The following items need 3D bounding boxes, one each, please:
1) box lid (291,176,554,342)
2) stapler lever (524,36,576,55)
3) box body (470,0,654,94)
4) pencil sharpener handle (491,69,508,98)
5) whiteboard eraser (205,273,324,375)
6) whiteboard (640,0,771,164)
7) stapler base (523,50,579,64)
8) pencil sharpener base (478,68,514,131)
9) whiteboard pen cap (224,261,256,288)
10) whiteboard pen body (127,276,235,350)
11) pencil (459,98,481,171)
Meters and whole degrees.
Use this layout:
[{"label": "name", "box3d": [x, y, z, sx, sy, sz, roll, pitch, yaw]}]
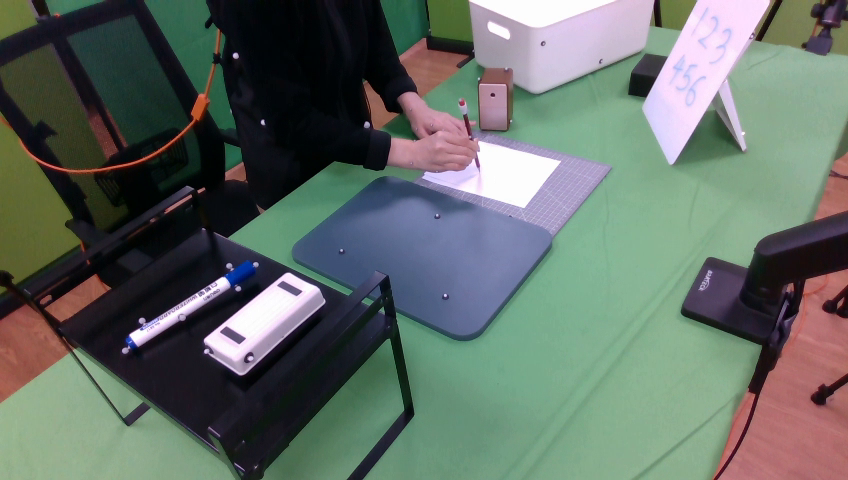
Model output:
[{"label": "box lid", "box3d": [-0.005, 0.011, 0.972, 0.368, 0.015, 0.264, 21, 49, 30]}, {"label": "stapler lever", "box3d": [0.296, -0.456, 1.418, 0.117, 0.040, 0.027, 4, 40, 17]}, {"label": "box body", "box3d": [0.319, -0.498, 1.405, 0.365, 0.161, 0.252, -26, 43, -21]}, {"label": "pencil sharpener handle", "box3d": [0.155, -0.329, 1.254, 0.036, 0.068, 0.030, 17, 43, 3]}, {"label": "whiteboard eraser", "box3d": [-0.157, 0.084, 0.605, 0.055, 0.042, 0.113, 24, 49, 30]}, {"label": "whiteboard", "box3d": [0.543, -0.299, 1.076, 0.144, 0.305, 0.216, 12, 40, -7]}, {"label": "stapler base", "box3d": [0.301, -0.436, 1.434, 0.130, 0.024, 0.041, 5, 40, 16]}, {"label": "pencil sharpener base", "box3d": [0.148, -0.286, 1.225, 0.061, 0.107, 0.076, 5, 41, 15]}, {"label": "whiteboard pen cap", "box3d": [-0.207, 0.039, 0.677, 0.033, 0.018, 0.018, -35, 47, -18]}, {"label": "whiteboard pen body", "box3d": [-0.251, 0.071, 0.649, 0.141, 0.017, 0.017, -36, 48, -26]}, {"label": "pencil", "box3d": [0.081, -0.175, 1.037, 0.012, 0.195, 0.012, -7, 59, 11]}]
